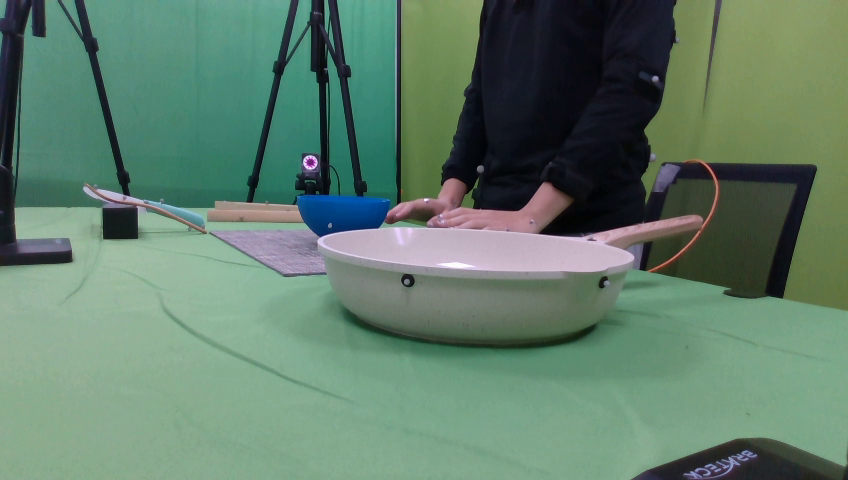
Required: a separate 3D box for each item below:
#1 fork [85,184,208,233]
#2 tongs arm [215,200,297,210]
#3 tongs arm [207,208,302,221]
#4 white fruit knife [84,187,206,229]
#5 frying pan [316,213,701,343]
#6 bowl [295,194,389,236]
[{"bbox_3d":[-0.462,-0.051,1.019,0.208,0.018,0.028,22,-11,-37],"label":"fork"},{"bbox_3d":[-0.295,-0.069,1.425,0.386,0.026,0.050,2,8,-9],"label":"tongs arm"},{"bbox_3d":[-0.277,-0.055,1.347,0.389,0.028,0.028,0,5,-22],"label":"tongs arm"},{"bbox_3d":[-0.488,-0.059,1.071,0.208,0.027,0.016,17,4,-33],"label":"white fruit knife"},{"bbox_3d":[0.133,0.013,0.629,0.490,0.102,0.305,-12,14,-30],"label":"frying pan"},{"bbox_3d":[-0.133,-0.032,0.980,0.151,0.077,0.151,2,7,0],"label":"bowl"}]
